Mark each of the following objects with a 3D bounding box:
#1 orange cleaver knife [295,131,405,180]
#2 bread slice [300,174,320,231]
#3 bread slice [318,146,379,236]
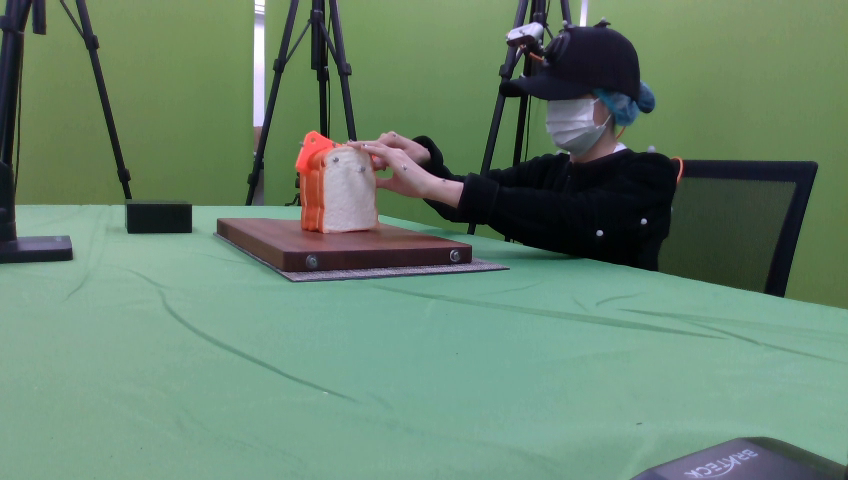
[{"bbox_3d":[-0.116,-0.122,0.985,0.212,0.077,0.012,6,1,-44],"label":"orange cleaver knife"},{"bbox_3d":[-0.153,-0.080,0.967,0.019,0.131,0.105,-1,1,45],"label":"bread slice"},{"bbox_3d":[-0.119,-0.076,0.924,0.018,0.134,0.107,5,13,44],"label":"bread slice"}]
